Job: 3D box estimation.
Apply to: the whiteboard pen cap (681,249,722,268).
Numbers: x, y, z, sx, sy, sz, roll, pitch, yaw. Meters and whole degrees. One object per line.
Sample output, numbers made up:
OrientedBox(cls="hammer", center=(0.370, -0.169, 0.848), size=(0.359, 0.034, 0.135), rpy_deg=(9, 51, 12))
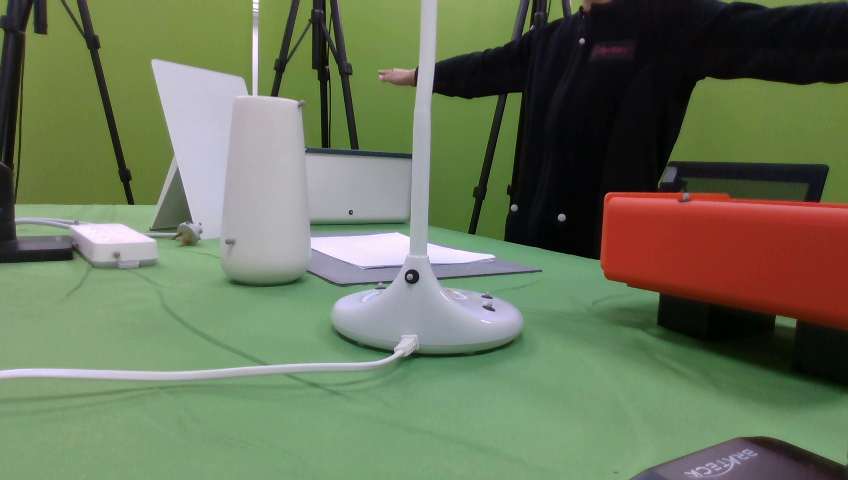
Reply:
OrientedBox(cls="whiteboard pen cap", center=(0.250, 0.017, 0.544), size=(0.033, 0.018, 0.018), rpy_deg=(2, 7, 25))

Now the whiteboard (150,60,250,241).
OrientedBox(cls="whiteboard", center=(-0.408, -0.139, 1.093), size=(0.143, 0.305, 0.218), rpy_deg=(-15, -1, 26))

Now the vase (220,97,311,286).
OrientedBox(cls="vase", center=(-0.172, -0.052, 0.662), size=(0.098, 0.200, 0.098), rpy_deg=(3, 8, 0))

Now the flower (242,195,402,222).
OrientedBox(cls="flower", center=(-0.231, -0.064, 1.373), size=(0.362, 0.038, 0.044), rpy_deg=(6, 40, -2))

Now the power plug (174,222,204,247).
OrientedBox(cls="power plug", center=(-0.360, 0.000, 0.917), size=(0.072, 0.035, 0.053), rpy_deg=(-42, 4, 39))

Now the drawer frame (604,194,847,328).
OrientedBox(cls="drawer frame", center=(0.298, 0.007, 0.497), size=(0.203, 0.082, 0.212), rpy_deg=(-1, 7, -34))

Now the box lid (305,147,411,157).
OrientedBox(cls="box lid", center=(-0.229, -0.200, 1.361), size=(0.373, 0.015, 0.262), rpy_deg=(-2, 9, -33))

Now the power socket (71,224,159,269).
OrientedBox(cls="power socket", center=(-0.409, 0.004, 0.792), size=(0.072, 0.032, 0.225), rpy_deg=(-2, 8, -37))

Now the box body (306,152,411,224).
OrientedBox(cls="box body", center=(-0.230, -0.126, 1.372), size=(0.366, 0.160, 0.253), rpy_deg=(-2, 8, -33))

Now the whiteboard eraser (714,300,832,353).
OrientedBox(cls="whiteboard eraser", center=(0.256, 0.042, 0.472), size=(0.112, 0.042, 0.056), rpy_deg=(44, 20, 31))

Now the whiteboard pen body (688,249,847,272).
OrientedBox(cls="whiteboard pen body", center=(0.304, 0.017, 0.521), size=(0.140, 0.017, 0.017), rpy_deg=(2, 7, 28))

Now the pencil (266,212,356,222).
OrientedBox(cls="pencil", center=(-0.244, -0.049, 1.319), size=(0.195, 0.012, 0.012), rpy_deg=(4, 7, -12))

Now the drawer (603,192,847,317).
OrientedBox(cls="drawer", center=(0.293, 0.002, 0.500), size=(0.195, 0.073, 0.210), rpy_deg=(-1, 8, -34))

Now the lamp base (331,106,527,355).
OrientedBox(cls="lamp base", center=(0.006, -0.012, 0.478), size=(0.161, 0.180, 0.179), rpy_deg=(2, 10, 2))
